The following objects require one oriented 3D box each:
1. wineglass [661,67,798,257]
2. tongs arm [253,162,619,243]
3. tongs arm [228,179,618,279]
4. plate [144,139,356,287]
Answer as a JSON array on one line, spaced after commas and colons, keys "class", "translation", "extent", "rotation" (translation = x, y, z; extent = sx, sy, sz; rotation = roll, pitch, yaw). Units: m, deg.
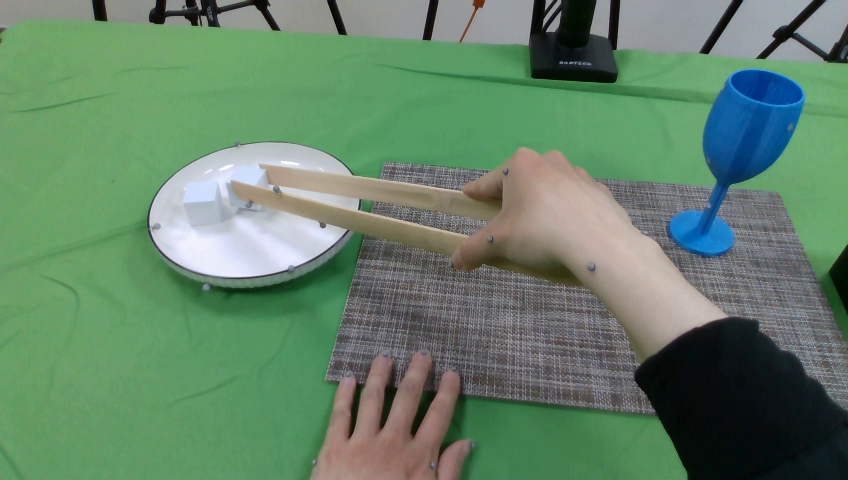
[{"class": "wineglass", "translation": [0.282, -0.070, 0.573], "extent": [0.074, 0.174, 0.073], "rotation": [1, 45, 0]}, {"class": "tongs arm", "translation": [-0.016, -0.037, 0.535], "extent": [0.385, 0.028, 0.028], "rotation": [12, 37, 32]}, {"class": "tongs arm", "translation": [-0.029, -0.023, 0.519], "extent": [0.382, 0.027, 0.050], "rotation": [15, 42, 35]}, {"class": "plate", "translation": [-0.172, -0.028, 0.619], "extent": [0.209, 0.038, 0.207], "rotation": [1, 45, -1]}]
